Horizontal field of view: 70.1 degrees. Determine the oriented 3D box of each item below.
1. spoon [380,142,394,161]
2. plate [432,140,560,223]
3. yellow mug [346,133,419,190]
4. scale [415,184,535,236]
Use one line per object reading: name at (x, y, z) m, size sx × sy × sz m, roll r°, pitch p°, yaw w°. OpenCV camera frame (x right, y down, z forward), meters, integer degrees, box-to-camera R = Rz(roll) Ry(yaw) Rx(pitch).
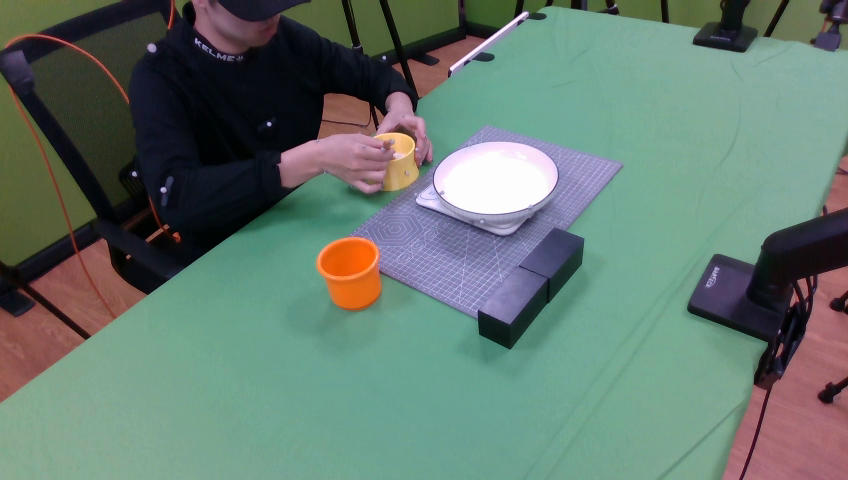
spoon at (-0.065, -0.151, 1.057) m, size 0.042 × 0.194 × 0.021 m, roll 0°, pitch 85°, yaw -2°
plate at (0.118, -0.094, 0.999) m, size 0.209 × 0.038 × 0.208 m, roll -4°, pitch 41°, yaw 4°
yellow mug at (-0.079, -0.143, 1.115) m, size 0.131 × 0.064 × 0.099 m, roll -6°, pitch 39°, yaw 3°
scale at (0.099, -0.080, 1.035) m, size 0.199 × 0.032 × 0.149 m, roll 23°, pitch 48°, yaw 31°
